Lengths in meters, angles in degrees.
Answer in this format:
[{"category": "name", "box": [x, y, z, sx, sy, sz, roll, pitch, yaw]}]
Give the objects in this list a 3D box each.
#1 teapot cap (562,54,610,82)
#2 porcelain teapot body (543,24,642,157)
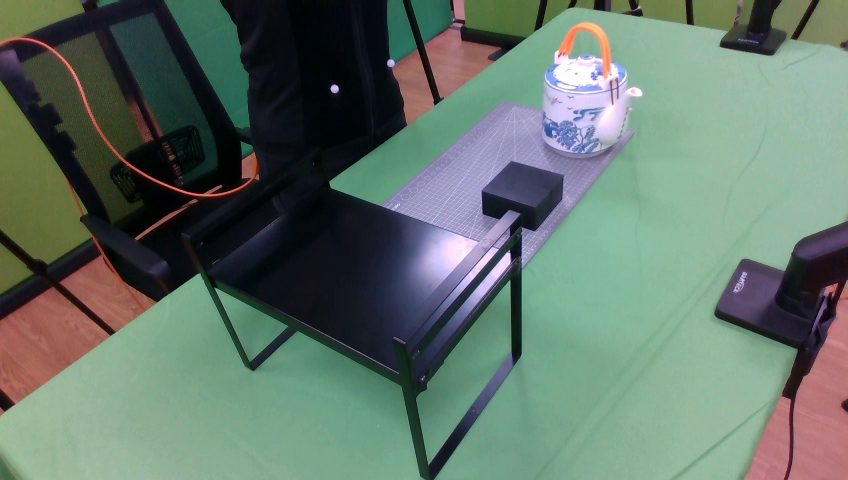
[{"category": "teapot cap", "box": [0.286, -0.302, 1.064, 0.085, 0.044, 0.085, -1, 41, 1]}, {"category": "porcelain teapot body", "box": [0.305, -0.258, 1.070, 0.146, 0.226, 0.203, -26, 44, -20]}]
